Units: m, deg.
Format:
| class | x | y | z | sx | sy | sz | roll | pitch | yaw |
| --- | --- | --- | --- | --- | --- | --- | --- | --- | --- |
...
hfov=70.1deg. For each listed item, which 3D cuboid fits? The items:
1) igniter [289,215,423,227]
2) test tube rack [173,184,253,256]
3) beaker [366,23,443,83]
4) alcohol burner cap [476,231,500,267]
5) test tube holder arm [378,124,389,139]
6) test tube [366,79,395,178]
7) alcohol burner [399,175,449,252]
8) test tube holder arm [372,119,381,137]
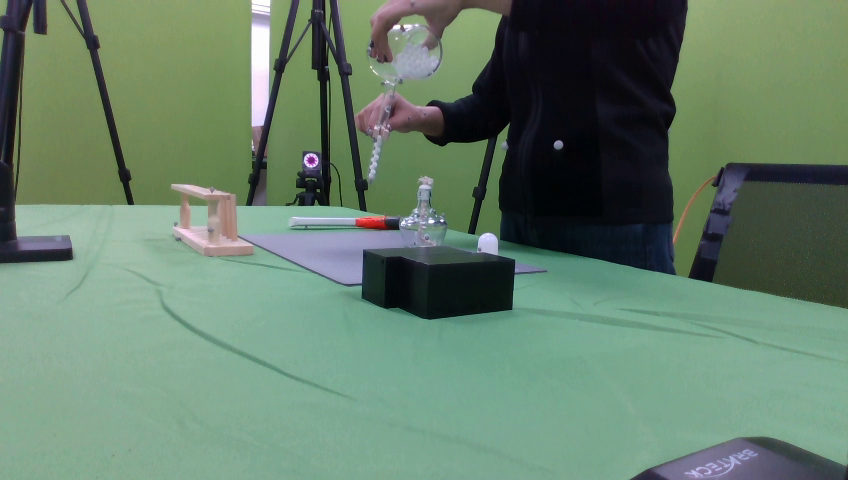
| class | x | y | z | sx | sy | sz | roll | pitch | yaw |
| --- | --- | --- | --- | --- | --- | --- | --- | --- | --- |
| igniter | -0.133 | -0.038 | 1.232 | 0.278 | 0.025 | 0.057 | -1 | -2 | -25 |
| test tube rack | -0.329 | -0.036 | 0.927 | 0.067 | 0.085 | 0.241 | -2 | 9 | -32 |
| beaker | -0.027 | -0.261 | 0.844 | 0.074 | 0.084 | 0.100 | -12 | 20 | -28 |
| alcohol burner cap | 0.088 | 0.012 | 0.830 | 0.034 | 0.048 | 0.034 | 2 | 6 | 0 |
| test tube holder arm | -0.065 | -0.169 | 0.936 | 0.010 | 0.015 | 0.087 | 15 | 14 | -16 |
| test tube | -0.065 | -0.166 | 0.912 | 0.017 | 0.150 | 0.017 | 13 | 16 | -3 |
| alcohol burner | 0.000 | -0.041 | 0.937 | 0.078 | 0.119 | 0.078 | 0 | 8 | 0 |
| test tube holder arm | -0.076 | -0.183 | 0.977 | 0.013 | 0.015 | 0.178 | 17 | 14 | -9 |
